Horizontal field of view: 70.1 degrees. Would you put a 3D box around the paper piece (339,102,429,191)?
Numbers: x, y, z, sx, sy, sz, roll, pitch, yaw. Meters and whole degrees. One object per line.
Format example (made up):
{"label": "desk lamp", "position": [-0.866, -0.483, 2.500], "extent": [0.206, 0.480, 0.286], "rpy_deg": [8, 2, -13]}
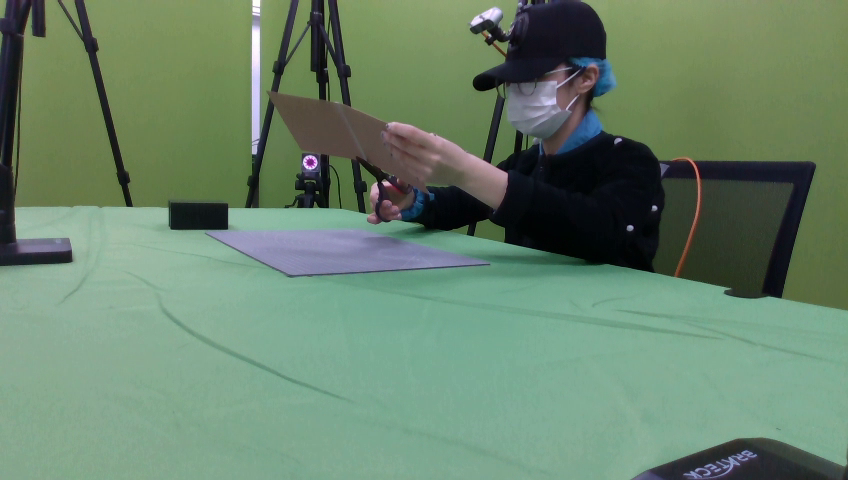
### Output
{"label": "paper piece", "position": [-0.059, -0.139, 0.901], "extent": [0.137, 0.008, 0.136], "rpy_deg": [29, -17, 31]}

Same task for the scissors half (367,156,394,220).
{"label": "scissors half", "position": [-0.081, -0.099, 1.029], "extent": [0.012, 0.175, 0.040], "rpy_deg": [24, 53, 34]}

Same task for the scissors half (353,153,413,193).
{"label": "scissors half", "position": [-0.068, -0.119, 1.036], "extent": [0.013, 0.040, 0.176], "rpy_deg": [19, 0, 33]}

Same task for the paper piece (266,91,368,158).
{"label": "paper piece", "position": [-0.169, -0.181, 0.961], "extent": [0.135, 0.004, 0.136], "rpy_deg": [12, -28, 24]}
